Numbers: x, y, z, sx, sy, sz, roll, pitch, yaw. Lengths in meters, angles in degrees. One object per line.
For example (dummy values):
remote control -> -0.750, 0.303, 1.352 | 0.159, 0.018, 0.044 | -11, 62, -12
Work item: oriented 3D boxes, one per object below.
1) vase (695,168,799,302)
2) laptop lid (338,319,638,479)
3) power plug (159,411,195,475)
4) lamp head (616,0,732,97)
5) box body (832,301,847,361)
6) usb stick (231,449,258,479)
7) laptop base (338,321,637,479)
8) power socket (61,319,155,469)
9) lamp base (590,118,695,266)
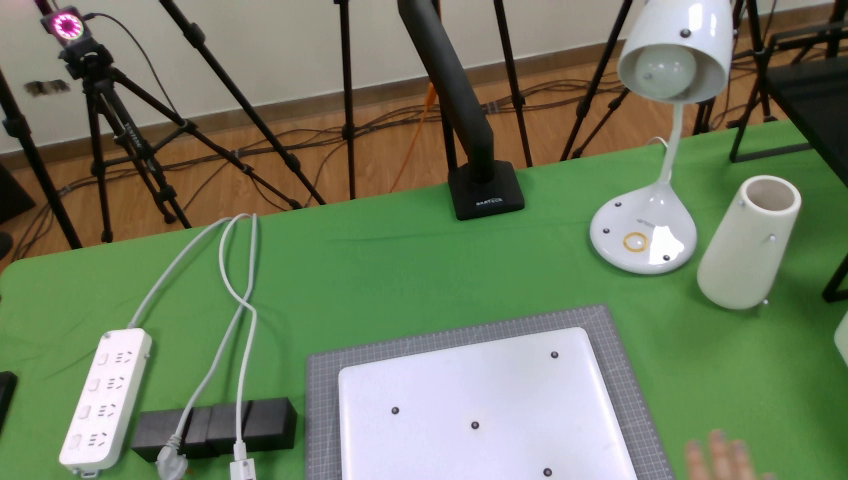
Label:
vase -> 0.432, -0.003, 0.816 | 0.098, 0.202, 0.097 | -5, 49, 6
laptop lid -> 0.067, 0.230, 0.779 | 0.357, 0.013, 0.239 | -9, 53, 1
power plug -> -0.306, 0.265, 0.774 | 0.035, 0.053, 0.072 | 14, 61, 43
lamp head -> 0.274, -0.229, 0.646 | 0.112, 0.113, 0.122 | 14, 72, 19
box body -> 0.667, 0.182, 0.655 | 0.254, 0.162, 0.360 | -8, 50, 2
usb stick -> -0.223, 0.292, 0.755 | 0.027, 0.022, 0.059 | -17, 73, 32
laptop base -> 0.068, 0.235, 0.789 | 0.354, 0.023, 0.233 | -10, 54, 0
power socket -> -0.450, 0.211, 0.872 | 0.072, 0.033, 0.224 | -5, 50, 4
lamp base -> 0.341, -0.081, 0.906 | 0.159, 0.182, 0.178 | 17, 53, 21
